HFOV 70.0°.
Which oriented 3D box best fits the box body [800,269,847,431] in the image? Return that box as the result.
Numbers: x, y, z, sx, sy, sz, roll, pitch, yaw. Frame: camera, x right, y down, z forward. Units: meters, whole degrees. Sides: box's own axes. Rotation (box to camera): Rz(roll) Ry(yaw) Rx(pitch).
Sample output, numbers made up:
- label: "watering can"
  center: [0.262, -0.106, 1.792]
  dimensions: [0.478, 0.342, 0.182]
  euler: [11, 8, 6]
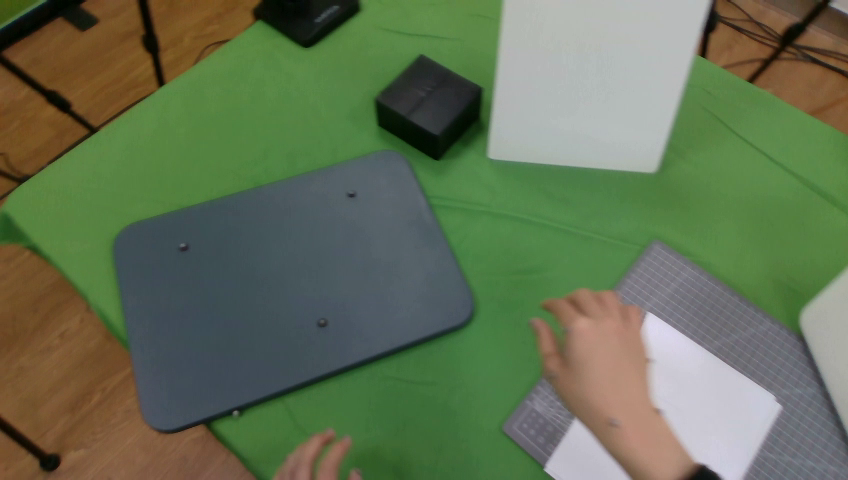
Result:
- label: "box body"
  center: [0.548, 0.175, 0.537]
  dimensions: [0.254, 0.161, 0.360]
  euler: [-6, 61, -4]

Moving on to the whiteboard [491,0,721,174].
- label: "whiteboard"
  center: [0.208, -0.253, 0.730]
  dimensions: [0.217, 0.308, 0.142]
  euler: [6, 41, 4]

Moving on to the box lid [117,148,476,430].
- label: "box lid"
  center: [-0.152, 0.037, 0.695]
  dimensions: [0.372, 0.015, 0.260]
  euler: [-18, 62, -11]
